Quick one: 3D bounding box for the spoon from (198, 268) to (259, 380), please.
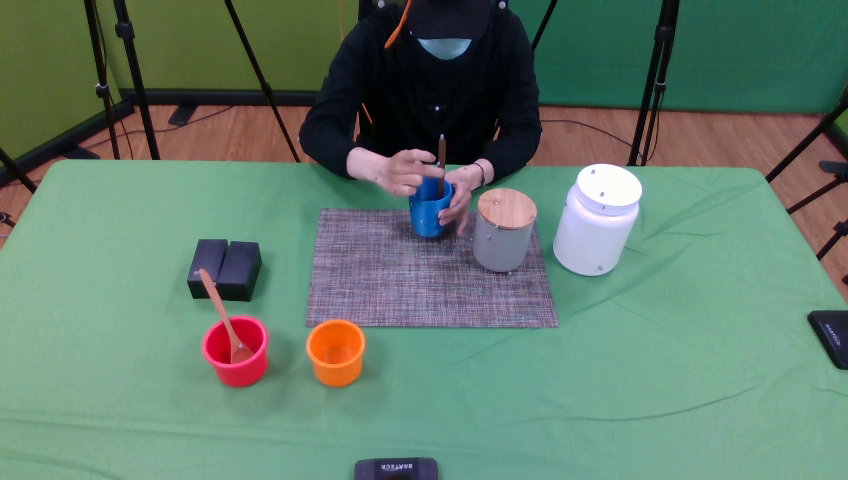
[{"bbox_3d":[-0.312,0.132,0.962,0.041,0.021,0.194,-24,96,-20],"label":"spoon"}]

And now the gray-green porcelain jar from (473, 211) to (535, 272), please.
[{"bbox_3d":[0.147,-0.010,1.139,0.106,0.127,0.105,2,46,-2],"label":"gray-green porcelain jar"}]

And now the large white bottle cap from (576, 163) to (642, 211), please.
[{"bbox_3d":[0.330,-0.096,1.080,0.115,0.018,0.114,2,46,-2],"label":"large white bottle cap"}]

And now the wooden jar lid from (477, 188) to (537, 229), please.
[{"bbox_3d":[0.149,-0.054,1.094,0.108,0.021,0.107,4,45,-4],"label":"wooden jar lid"}]

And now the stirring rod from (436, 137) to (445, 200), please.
[{"bbox_3d":[0.030,-0.111,1.123,0.014,0.177,0.006,-23,44,-29],"label":"stirring rod"}]

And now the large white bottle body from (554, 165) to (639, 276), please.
[{"bbox_3d":[0.326,-0.037,1.141,0.131,0.185,0.130,2,46,-2],"label":"large white bottle body"}]

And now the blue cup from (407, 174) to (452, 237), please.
[{"bbox_3d":[0.009,-0.062,1.173,0.092,0.101,0.092,1,43,0],"label":"blue cup"}]
